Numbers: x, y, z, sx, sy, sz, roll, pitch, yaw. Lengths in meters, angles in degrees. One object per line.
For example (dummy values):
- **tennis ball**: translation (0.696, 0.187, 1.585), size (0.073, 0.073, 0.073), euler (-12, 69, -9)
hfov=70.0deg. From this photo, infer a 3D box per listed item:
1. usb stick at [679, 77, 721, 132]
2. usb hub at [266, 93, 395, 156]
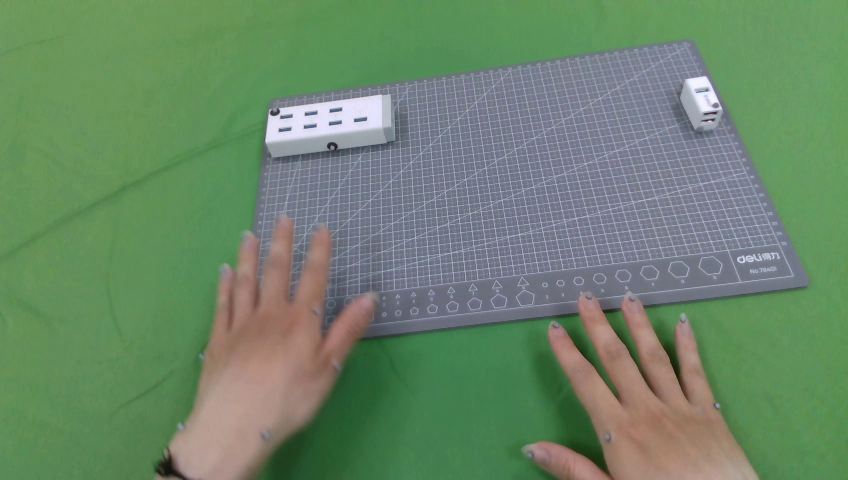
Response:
- **usb stick**: translation (0.254, -0.131, 0.562), size (0.021, 0.027, 0.058), euler (-9, 53, 5)
- **usb hub**: translation (-0.093, -0.116, 0.605), size (0.125, 0.025, 0.049), euler (-6, 55, 4)
